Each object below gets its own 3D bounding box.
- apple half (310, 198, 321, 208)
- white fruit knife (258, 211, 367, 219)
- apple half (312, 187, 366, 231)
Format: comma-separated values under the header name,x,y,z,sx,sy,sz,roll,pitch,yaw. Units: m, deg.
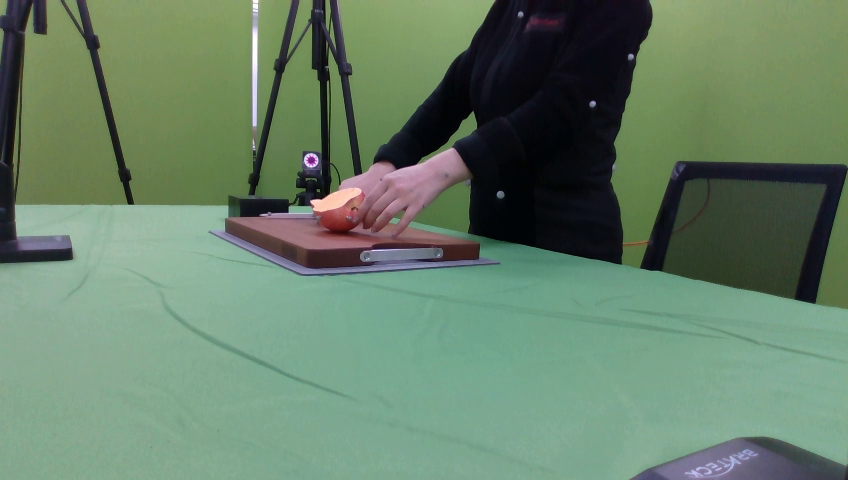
name,x,y,z,sx,sy,sz,roll,pitch,yaw
apple half,-0.160,-0.043,1.036,0.081,0.033,0.081,16,15,-4
white fruit knife,-0.200,-0.046,1.111,0.208,0.016,0.027,-2,-20,-26
apple half,-0.127,-0.041,0.929,0.074,0.053,0.081,2,33,38
